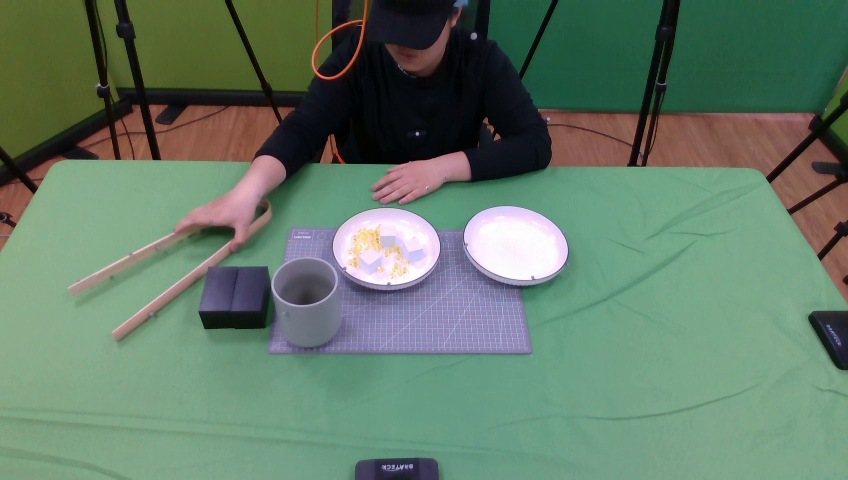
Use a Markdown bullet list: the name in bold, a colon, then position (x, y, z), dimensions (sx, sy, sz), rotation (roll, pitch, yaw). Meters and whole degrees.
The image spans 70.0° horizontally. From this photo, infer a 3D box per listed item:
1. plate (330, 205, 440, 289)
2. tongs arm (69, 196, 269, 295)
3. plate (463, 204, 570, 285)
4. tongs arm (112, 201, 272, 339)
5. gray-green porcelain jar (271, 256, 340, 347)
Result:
- **plate**: position (-0.074, 0.017, 1.160), dimensions (0.208, 0.039, 0.206), rotation (2, 46, -2)
- **tongs arm**: position (-0.466, 0.007, 1.148), dimensions (0.050, 0.026, 0.384), rotation (36, 52, 26)
- **plate**: position (0.178, 0.012, 1.184), dimensions (0.209, 0.038, 0.208), rotation (3, 46, -3)
- **tongs arm**: position (-0.410, 0.045, 1.120), dimensions (0.028, 0.028, 0.387), rotation (24, 48, 22)
- **gray-green porcelain jar**: position (-0.193, 0.107, 1.004), dimensions (0.106, 0.127, 0.105), rotation (2, 46, -2)
